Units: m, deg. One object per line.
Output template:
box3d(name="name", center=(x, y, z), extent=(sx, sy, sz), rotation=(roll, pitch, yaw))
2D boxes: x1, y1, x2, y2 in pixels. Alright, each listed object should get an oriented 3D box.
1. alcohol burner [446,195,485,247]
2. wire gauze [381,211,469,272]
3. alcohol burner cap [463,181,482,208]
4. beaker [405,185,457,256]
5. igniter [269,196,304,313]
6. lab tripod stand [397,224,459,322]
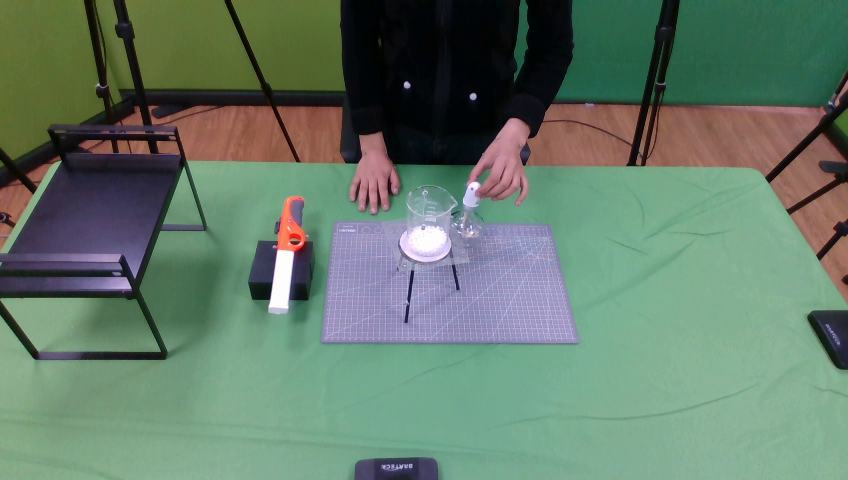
box3d(name="alcohol burner", center=(0.082, -0.043, 1.179), extent=(0.078, 0.120, 0.077), rotation=(2, 45, -2))
box3d(name="wire gauze", center=(0.000, 0.001, 1.024), extent=(0.125, 0.011, 0.120), rotation=(-11, 48, -12))
box3d(name="alcohol burner cap", center=(0.093, -0.088, 1.134), extent=(0.034, 0.048, 0.033), rotation=(6, 46, -6))
box3d(name="beaker", center=(0.009, -0.029, 0.988), extent=(0.084, 0.101, 0.073), rotation=(-1, 47, -5))
box3d(name="igniter", center=(-0.249, 0.016, 1.095), extent=(0.057, 0.025, 0.274), rotation=(8, 46, -13))
box3d(name="lab tripod stand", center=(-0.003, 0.052, 1.067), extent=(0.148, 0.132, 0.147), rotation=(3, 48, -3))
